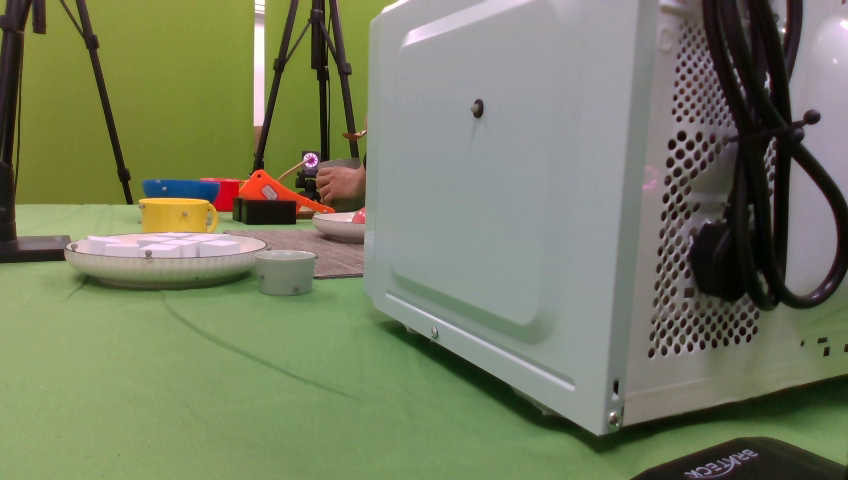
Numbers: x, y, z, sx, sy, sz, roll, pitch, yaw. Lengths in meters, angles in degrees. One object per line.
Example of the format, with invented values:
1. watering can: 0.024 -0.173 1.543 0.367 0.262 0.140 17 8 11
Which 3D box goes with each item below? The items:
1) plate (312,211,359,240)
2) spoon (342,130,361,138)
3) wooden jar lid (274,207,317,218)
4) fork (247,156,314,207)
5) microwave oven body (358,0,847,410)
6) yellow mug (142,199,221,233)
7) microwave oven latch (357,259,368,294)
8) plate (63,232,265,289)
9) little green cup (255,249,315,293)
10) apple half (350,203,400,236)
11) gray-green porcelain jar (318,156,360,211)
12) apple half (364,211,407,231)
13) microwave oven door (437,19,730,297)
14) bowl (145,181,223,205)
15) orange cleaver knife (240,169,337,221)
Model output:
1. plate: -0.091 -0.026 1.063 0.209 0.038 0.209 2 7 0
2. spoon: -0.136 -0.277 1.524 0.041 0.021 0.194 9 21 32
3. wooden jar lid: -0.303 -0.065 1.409 0.108 0.020 0.108 3 9 0
4. fork: -0.360 -0.147 1.523 0.207 0.018 0.028 -43 16 -6
5. microwave oven body: 0.210 -0.051 0.471 0.444 0.260 0.324 -1 7 -28
6. yellow mug: -0.373 -0.030 0.948 0.099 0.064 0.131 6 8 30
7. microwave oven latch: -0.019 0.031 0.530 0.079 0.029 0.030 -1 7 -28
8. plate: -0.288 0.021 0.687 0.208 0.039 0.207 2 7 0
9. little green cup: -0.144 0.032 0.627 0.061 0.038 0.061 2 6 0
10. apple half: -0.081 -0.036 1.024 0.081 0.053 0.074 -2 11 -34
11. gray-green porcelain jar: -0.197 -0.134 1.486 0.106 0.126 0.106 -10 2 1
12. apple half: -0.068 -0.037 1.103 0.081 0.033 0.081 -1 9 1
13. microwave oven door: 0.180 -0.076 0.618 0.358 0.243 0.039 -2 9 -28
14. bowl: -0.499 -0.081 1.261 0.151 0.077 0.151 2 8 0
15. orange cleaver knife: -0.287 -0.081 1.298 0.212 0.077 0.012 25 -3 -31
